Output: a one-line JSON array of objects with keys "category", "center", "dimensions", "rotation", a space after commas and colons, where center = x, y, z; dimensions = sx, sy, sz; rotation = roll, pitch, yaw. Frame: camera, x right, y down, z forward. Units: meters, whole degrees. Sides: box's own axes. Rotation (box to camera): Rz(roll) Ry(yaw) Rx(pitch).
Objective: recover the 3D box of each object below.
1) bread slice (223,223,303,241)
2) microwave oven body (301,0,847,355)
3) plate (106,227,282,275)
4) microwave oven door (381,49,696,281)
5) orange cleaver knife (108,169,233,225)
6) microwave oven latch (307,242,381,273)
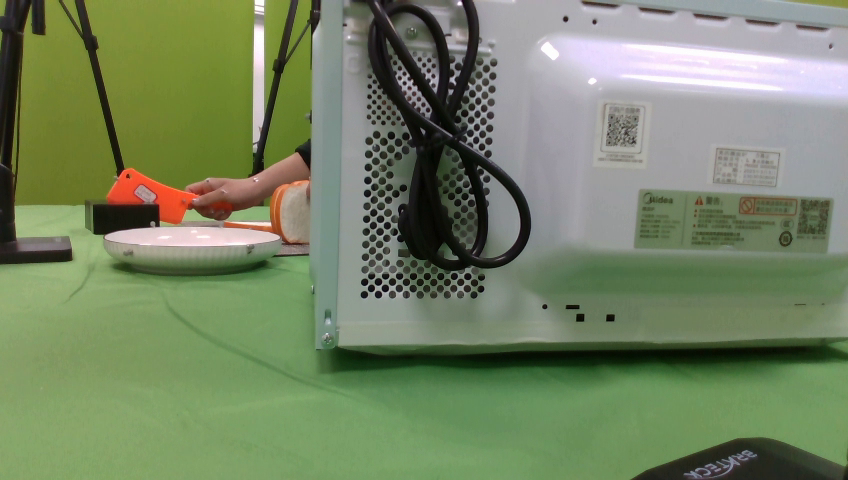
[{"category": "bread slice", "center": [-0.274, -0.013, 1.041], "dimensions": [0.135, 0.018, 0.106], "rotation": [8, -3, -42]}, {"category": "microwave oven body", "center": [0.120, -0.053, 0.535], "dimensions": [0.443, 0.260, 0.325], "rotation": [2, 7, -11]}, {"category": "plate", "center": [-0.288, 0.013, 0.772], "dimensions": [0.208, 0.039, 0.207], "rotation": [2, 7, 0]}, {"category": "microwave oven door", "center": [0.135, -0.077, 0.685], "dimensions": [0.357, 0.243, 0.039], "rotation": [1, 8, -12]}, {"category": "orange cleaver knife", "center": [-0.455, -0.067, 1.098], "dimensions": [0.212, 0.077, 0.012], "rotation": [17, -3, -38]}, {"category": "microwave oven latch", "center": [-0.086, 0.018, 0.656], "dimensions": [0.079, 0.029, 0.030], "rotation": [2, 7, -10]}]
